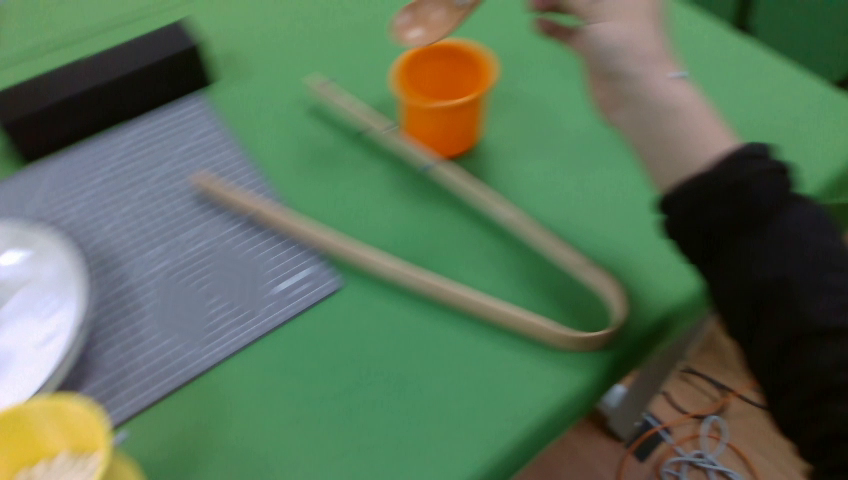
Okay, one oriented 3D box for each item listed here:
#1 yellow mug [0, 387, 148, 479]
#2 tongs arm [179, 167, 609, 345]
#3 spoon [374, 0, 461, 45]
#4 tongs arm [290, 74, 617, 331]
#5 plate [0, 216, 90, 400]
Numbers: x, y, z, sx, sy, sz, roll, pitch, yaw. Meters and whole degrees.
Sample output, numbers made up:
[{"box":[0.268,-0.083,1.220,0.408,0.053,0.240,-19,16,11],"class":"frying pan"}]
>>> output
[{"box":[-0.233,0.150,0.341,0.131,0.064,0.099,-27,48,-25],"class":"yellow mug"},{"box":[-0.042,0.008,0.499,0.386,0.028,0.028,21,53,14],"class":"tongs arm"},{"box":[0.050,-0.188,0.423,0.193,0.022,0.041,-21,71,24],"class":"spoon"},{"box":[0.004,-0.048,0.536,0.382,0.027,0.050,33,61,21],"class":"tongs arm"},{"box":[-0.354,0.073,0.453,0.208,0.039,0.205,-1,55,1],"class":"plate"}]
